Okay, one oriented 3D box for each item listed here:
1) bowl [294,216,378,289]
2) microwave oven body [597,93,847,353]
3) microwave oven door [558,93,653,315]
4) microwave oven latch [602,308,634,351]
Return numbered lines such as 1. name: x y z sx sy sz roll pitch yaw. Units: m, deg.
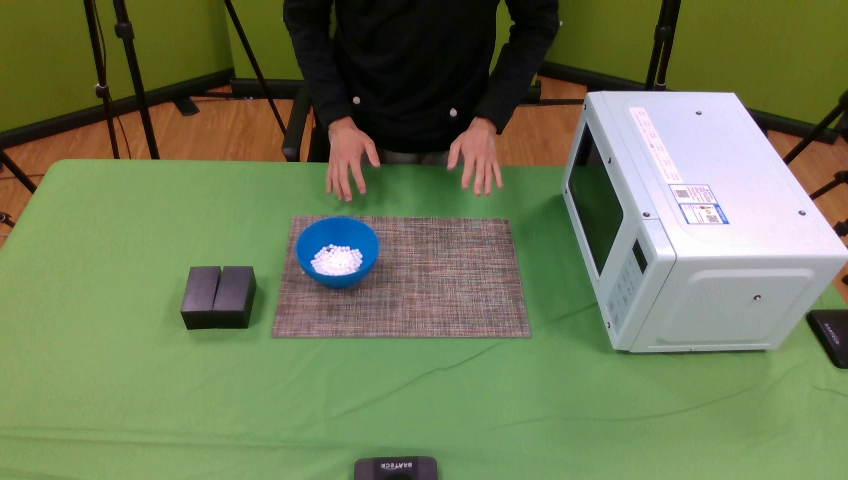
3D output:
1. bowl: -0.158 0.036 1.110 0.151 0.077 0.150 3 45 -2
2. microwave oven body: 0.475 -0.041 1.109 0.326 0.261 0.438 -1 45 -4
3. microwave oven door: 0.327 -0.074 1.123 0.039 0.245 0.353 0 46 -5
4. microwave oven latch: 0.332 0.153 1.044 0.030 0.029 0.078 -1 45 -4
